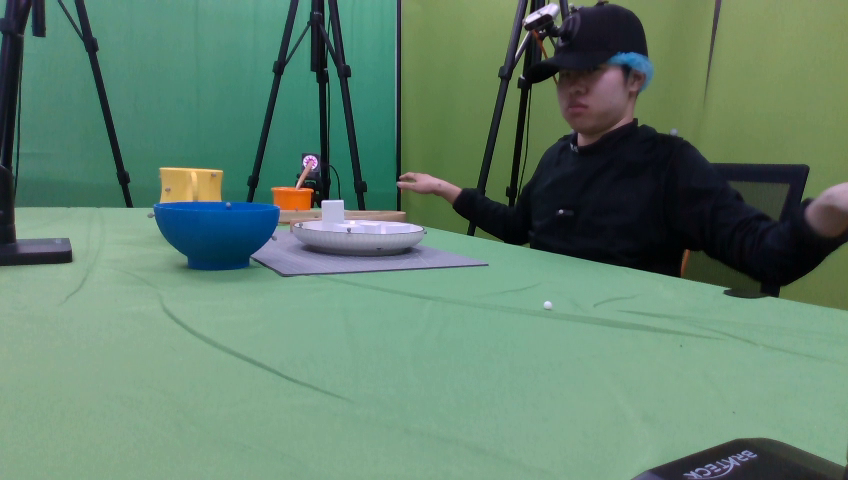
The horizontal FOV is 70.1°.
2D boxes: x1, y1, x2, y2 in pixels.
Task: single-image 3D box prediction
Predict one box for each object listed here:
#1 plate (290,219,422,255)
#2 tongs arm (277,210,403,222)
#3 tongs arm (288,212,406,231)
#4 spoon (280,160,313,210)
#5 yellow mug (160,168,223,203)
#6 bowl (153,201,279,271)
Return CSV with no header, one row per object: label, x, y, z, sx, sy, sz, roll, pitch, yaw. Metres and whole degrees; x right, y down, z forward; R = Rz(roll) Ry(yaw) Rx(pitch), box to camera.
plate,-0.108,-0.005,0.963,0.208,0.039,0.207,3,7,0
tongs arm,-0.206,-0.052,1.332,0.387,0.026,0.050,-2,7,-44
tongs arm,-0.146,-0.041,1.280,0.028,0.028,0.389,2,5,33
spoon,-0.286,-0.118,1.372,0.041,0.193,0.022,3,-37,18
yellow mug,-0.387,-0.086,1.016,0.100,0.064,0.130,-1,9,-25
bowl,-0.263,-0.005,0.772,0.151,0.077,0.151,3,8,0
